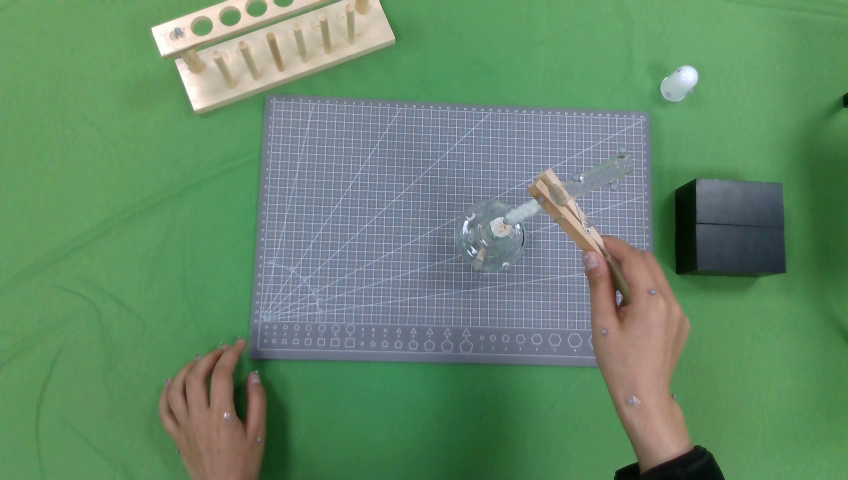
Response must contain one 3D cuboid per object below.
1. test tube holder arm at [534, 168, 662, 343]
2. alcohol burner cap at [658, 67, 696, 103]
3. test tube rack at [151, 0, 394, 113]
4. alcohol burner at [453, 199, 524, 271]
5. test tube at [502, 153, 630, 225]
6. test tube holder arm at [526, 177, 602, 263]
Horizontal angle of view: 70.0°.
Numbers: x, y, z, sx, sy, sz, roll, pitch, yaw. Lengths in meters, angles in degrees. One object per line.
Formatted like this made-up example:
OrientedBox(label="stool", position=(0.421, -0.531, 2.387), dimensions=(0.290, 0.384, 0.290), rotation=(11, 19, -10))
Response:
OrientedBox(label="test tube holder arm", position=(0.147, 0.015, 0.504), dimensions=(0.013, 0.015, 0.179), rotation=(-43, 102, -28))
OrientedBox(label="alcohol burner cap", position=(0.300, -0.184, 0.712), dimensions=(0.034, 0.048, 0.033), rotation=(0, 81, -2))
OrientedBox(label="test tube rack", position=(-0.156, -0.226, 0.665), dimensions=(0.242, 0.085, 0.066), rotation=(-22, 83, -7))
OrientedBox(label="alcohol burner", position=(0.070, -0.008, 0.632), dimensions=(0.078, 0.119, 0.077), rotation=(1, 82, -4))
OrientedBox(label="test tube", position=(0.106, -0.036, 0.483), dimensions=(0.017, 0.150, 0.017), rotation=(7, 74, -24))
OrientedBox(label="test tube holder arm", position=(0.115, -0.015, 0.492), dimensions=(0.088, 0.015, 0.010), rotation=(46, 62, -14))
